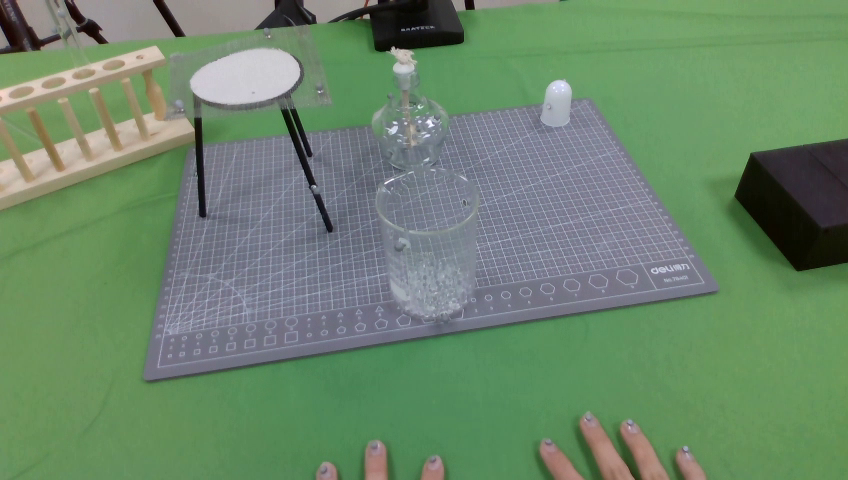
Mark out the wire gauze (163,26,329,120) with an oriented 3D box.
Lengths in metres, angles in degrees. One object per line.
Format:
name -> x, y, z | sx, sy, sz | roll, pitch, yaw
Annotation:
wire gauze -> -0.147, -0.136, 0.489 | 0.125, 0.011, 0.120 | -12, 46, -9

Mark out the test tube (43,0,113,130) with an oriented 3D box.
test tube -> -0.343, -0.176, 0.602 | 0.017, 0.151, 0.017 | -1, 42, 1

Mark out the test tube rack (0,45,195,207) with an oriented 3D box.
test tube rack -> -0.368, -0.111, 0.608 | 0.242, 0.086, 0.066 | -26, 49, -22

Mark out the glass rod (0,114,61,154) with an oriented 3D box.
glass rod -> -0.427, -0.134, 0.554 | 0.008, 0.202, 0.008 | -14, 57, 24

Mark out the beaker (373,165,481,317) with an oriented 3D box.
beaker -> 0.001, 0.003, 0.463 | 0.083, 0.101, 0.074 | 26, 51, 27

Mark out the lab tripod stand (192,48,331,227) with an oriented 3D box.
lab tripod stand -> -0.144, -0.088, 0.537 | 0.148, 0.133, 0.147 | -2, 47, 2

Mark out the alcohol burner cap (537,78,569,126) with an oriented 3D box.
alcohol burner cap -> 0.140, -0.151, 0.653 | 0.034, 0.048, 0.033 | -1, 45, 1

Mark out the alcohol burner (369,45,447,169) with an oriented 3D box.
alcohol burner -> -0.017, -0.130, 0.588 | 0.078, 0.120, 0.077 | -2, 43, 3
